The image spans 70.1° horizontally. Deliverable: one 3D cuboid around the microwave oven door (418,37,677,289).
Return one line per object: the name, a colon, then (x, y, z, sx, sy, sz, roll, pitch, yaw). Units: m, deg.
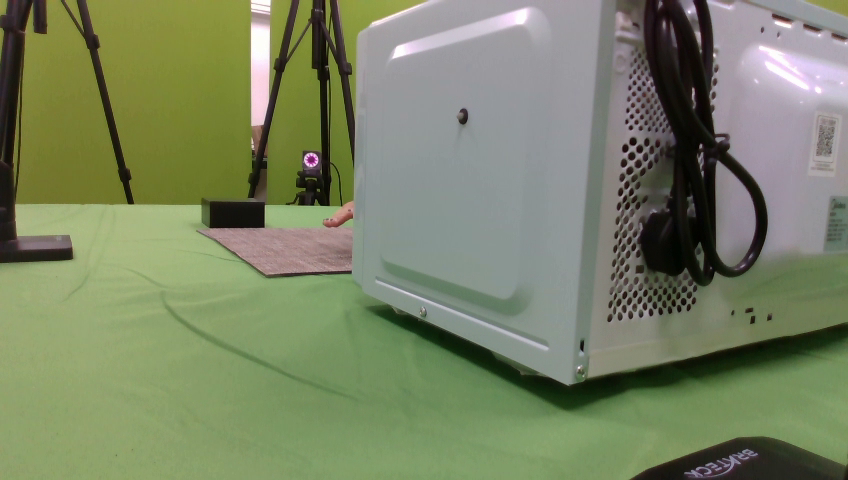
microwave oven door: (0.159, -0.079, 0.684, 0.358, 0.243, 0.039, -2, 9, -32)

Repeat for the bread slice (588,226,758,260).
bread slice: (0.226, 0.002, 0.569, 0.132, 0.019, 0.104, 4, 5, -23)

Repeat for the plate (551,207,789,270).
plate: (0.224, -0.004, 0.572, 0.209, 0.038, 0.209, 3, 8, 0)

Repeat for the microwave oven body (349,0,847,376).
microwave oven body: (0.199, -0.053, 0.540, 0.444, 0.260, 0.324, -1, 7, -32)

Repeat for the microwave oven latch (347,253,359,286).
microwave oven latch: (-0.034, 0.028, 0.581, 0.079, 0.029, 0.030, -1, 7, -32)
